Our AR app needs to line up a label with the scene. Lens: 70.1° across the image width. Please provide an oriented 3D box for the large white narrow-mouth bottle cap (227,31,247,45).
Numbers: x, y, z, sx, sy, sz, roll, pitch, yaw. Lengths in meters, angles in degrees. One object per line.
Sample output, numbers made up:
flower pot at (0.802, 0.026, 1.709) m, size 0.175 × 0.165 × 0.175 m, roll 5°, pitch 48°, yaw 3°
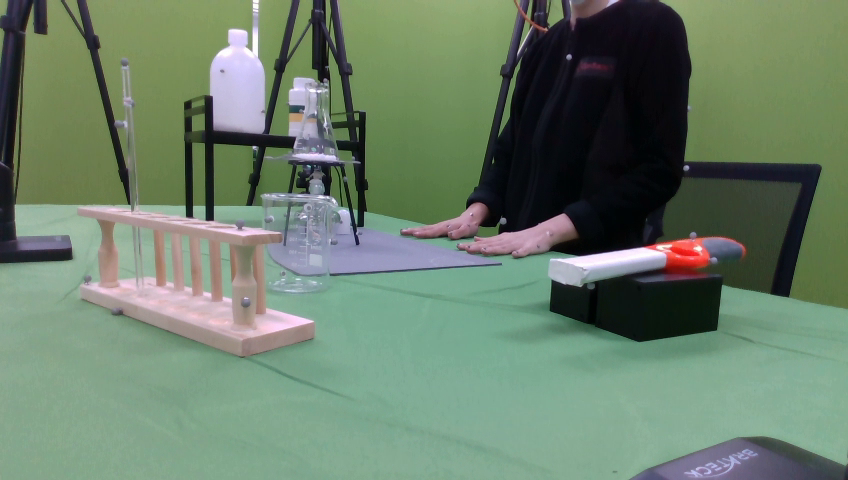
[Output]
large white narrow-mouth bottle cap at (-0.361, -0.388, 1.165) m, size 0.038 × 0.024 × 0.037 m, roll 1°, pitch 7°, yaw 0°

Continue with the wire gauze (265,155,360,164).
wire gauze at (-0.181, -0.128, 0.969) m, size 0.126 × 0.011 × 0.121 m, roll -3°, pitch 7°, yaw -26°

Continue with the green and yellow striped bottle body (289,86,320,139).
green and yellow striped bottle body at (-0.250, -0.272, 1.261) m, size 0.063 × 0.119 × 0.063 m, roll 3°, pitch 7°, yaw 0°

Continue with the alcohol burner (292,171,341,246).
alcohol burner at (-0.171, -0.050, 0.962) m, size 0.078 × 0.119 × 0.078 m, roll 1°, pitch 6°, yaw 0°

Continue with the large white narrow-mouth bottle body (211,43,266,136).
large white narrow-mouth bottle body at (-0.361, -0.302, 1.176) m, size 0.102 × 0.194 × 0.102 m, roll 1°, pitch 7°, yaw 0°

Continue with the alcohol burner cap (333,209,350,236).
alcohol burner cap at (-0.151, -0.033, 1.116) m, size 0.034 × 0.048 × 0.034 m, roll 3°, pitch 6°, yaw 0°

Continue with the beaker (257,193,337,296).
beaker at (-0.130, 0.004, 0.628) m, size 0.084 × 0.100 × 0.074 m, roll 5°, pitch 8°, yaw 15°

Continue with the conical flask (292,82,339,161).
conical flask at (-0.171, -0.185, 0.957) m, size 0.075 × 0.122 × 0.075 m, roll 2°, pitch 7°, yaw 0°

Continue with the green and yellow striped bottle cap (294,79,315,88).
green and yellow striped bottle cap at (-0.248, -0.323, 1.256) m, size 0.045 × 0.020 × 0.045 m, roll 4°, pitch 9°, yaw 0°

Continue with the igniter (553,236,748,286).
igniter at (0.221, 0.017, 0.559) m, size 0.278 × 0.025 × 0.057 m, roll -4°, pitch 14°, yaw -39°

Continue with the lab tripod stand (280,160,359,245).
lab tripod stand at (-0.176, -0.062, 0.973) m, size 0.148 × 0.131 × 0.148 m, roll 1°, pitch 7°, yaw 0°

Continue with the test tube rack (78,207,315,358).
test tube rack at (-0.196, 0.023, 0.500) m, size 0.241 × 0.085 × 0.067 m, roll 8°, pitch 8°, yaw 37°

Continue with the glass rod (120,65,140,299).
glass rod at (-0.249, -0.047, 0.513) m, size 0.008 × 0.199 × 0.008 m, roll -1°, pitch 4°, yaw 0°
